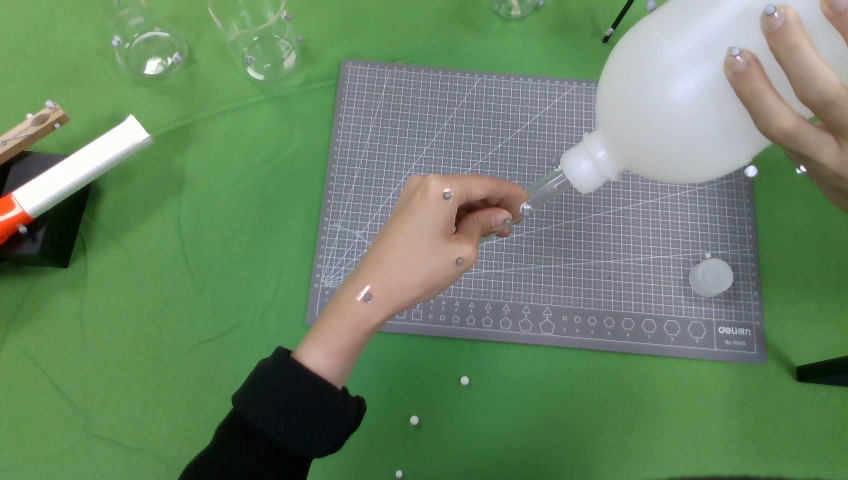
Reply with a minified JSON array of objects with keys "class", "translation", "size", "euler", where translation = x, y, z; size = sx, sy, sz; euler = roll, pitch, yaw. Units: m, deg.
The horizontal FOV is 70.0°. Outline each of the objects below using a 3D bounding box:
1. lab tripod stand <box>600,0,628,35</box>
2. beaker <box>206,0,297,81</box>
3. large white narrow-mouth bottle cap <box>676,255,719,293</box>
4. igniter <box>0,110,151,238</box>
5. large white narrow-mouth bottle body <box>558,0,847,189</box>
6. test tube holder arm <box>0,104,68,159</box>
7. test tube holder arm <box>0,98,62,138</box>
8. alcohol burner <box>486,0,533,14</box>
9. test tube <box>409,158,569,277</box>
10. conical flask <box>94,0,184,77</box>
[{"class":"lab tripod stand","translation":[0.269,-0.287,0.643],"size":[0.148,0.132,0.147],"euler":[1,72,-3]},{"class":"beaker","translation":[-0.174,-0.217,0.625],"size":[0.074,0.101,0.083],"euler":[20,74,5]},{"class":"large white narrow-mouth bottle cap","translation":[0.273,0.034,0.603],"size":[0.038,0.024,0.037],"euler":[0,74,-1]},{"class":"igniter","translation":[-0.378,-0.029,0.550],"size":[0.276,0.025,0.057],"euler":[-39,80,-15]},{"class":"large white narrow-mouth bottle body","translation":[0.159,-0.093,0.329],"size":[0.195,0.102,0.101],"euler":[-37,73,29]},{"class":"test tube holder arm","translation":[-0.382,-0.099,0.575],"size":[0.088,0.015,0.010],"euler":[-38,78,-13]},{"class":"test tube holder arm","translation":[-0.420,-0.076,0.566],"size":[0.178,0.015,0.013],"euler":[-39,78,-13]},{"class":"alcohol burner","translation":[0.100,-0.303,0.653],"size":[0.078,0.119,0.077],"euler":[1,71,-3]},{"class":"test tube","translation":[0.043,-0.012,0.423],"size":[0.150,0.017,0.017],"euler":[-35,71,34]},{"class":"conical flask","translation":[-0.299,-0.227,0.612],"size":[0.075,0.122,0.075],"euler":[0,73,-1]}]
